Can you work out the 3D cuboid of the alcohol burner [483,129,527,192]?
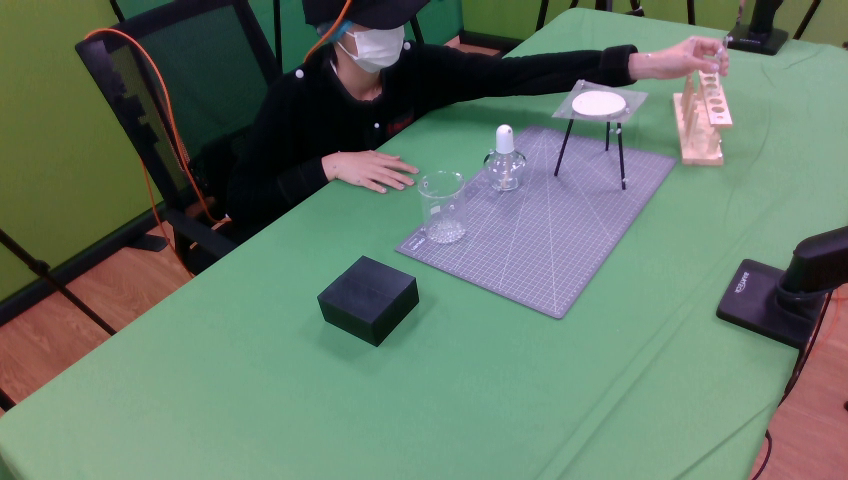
[{"bbox_3d":[0.141,-0.144,1.050,0.078,0.119,0.077,-4,42,4],"label":"alcohol burner"}]

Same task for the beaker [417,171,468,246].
[{"bbox_3d":[0.034,-0.049,0.965,0.084,0.101,0.073,-32,46,-27],"label":"beaker"}]

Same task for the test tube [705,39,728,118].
[{"bbox_3d":[0.519,-0.283,1.076,0.017,0.151,0.017,-6,38,5],"label":"test tube"}]

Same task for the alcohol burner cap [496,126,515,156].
[{"bbox_3d":[0.138,-0.172,1.028,0.034,0.048,0.033,-5,37,5],"label":"alcohol burner cap"}]

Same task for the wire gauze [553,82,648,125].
[{"bbox_3d":[0.293,-0.225,1.003,0.120,0.011,0.125,17,45,27],"label":"wire gauze"}]

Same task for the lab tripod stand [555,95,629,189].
[{"bbox_3d":[0.301,-0.174,1.045,0.148,0.132,0.147,-5,38,5],"label":"lab tripod stand"}]

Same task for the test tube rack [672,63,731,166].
[{"bbox_3d":[0.513,-0.241,1.132,0.066,0.085,0.242,4,41,14],"label":"test tube rack"}]
